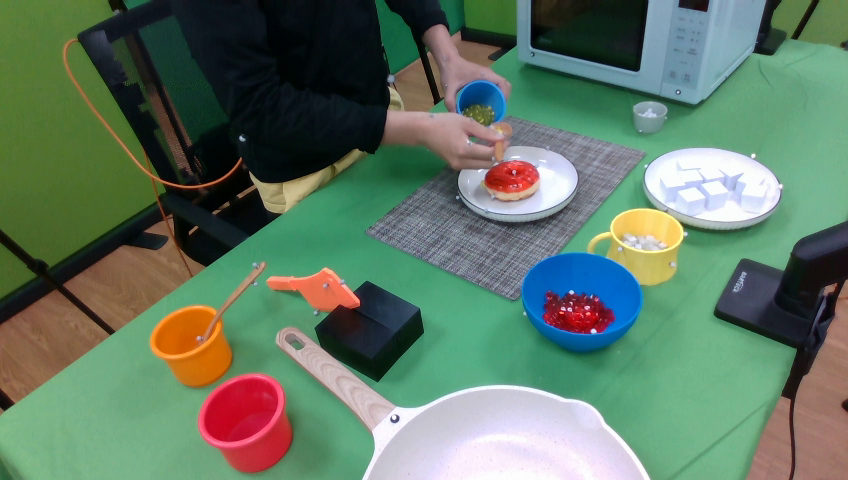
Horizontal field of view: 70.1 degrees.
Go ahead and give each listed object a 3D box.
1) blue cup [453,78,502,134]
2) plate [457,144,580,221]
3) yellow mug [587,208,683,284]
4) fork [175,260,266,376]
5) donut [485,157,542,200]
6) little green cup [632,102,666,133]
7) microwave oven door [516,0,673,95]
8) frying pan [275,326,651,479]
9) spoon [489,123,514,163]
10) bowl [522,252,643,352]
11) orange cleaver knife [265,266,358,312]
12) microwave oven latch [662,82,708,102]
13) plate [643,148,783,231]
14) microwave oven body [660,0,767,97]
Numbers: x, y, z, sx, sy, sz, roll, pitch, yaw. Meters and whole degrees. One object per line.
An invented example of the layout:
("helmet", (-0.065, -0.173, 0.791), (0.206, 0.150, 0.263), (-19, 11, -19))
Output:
("blue cup", (0.100, -0.229, 1.075), (0.092, 0.100, 0.092), (-1, 86, 10))
("plate", (0.162, -0.097, 1.042), (0.209, 0.038, 0.208), (-4, 40, 4))
("yellow mug", (0.305, 0.009, 0.884), (0.131, 0.064, 0.099), (-4, 40, 5))
("fork", (-0.268, 0.103, 0.792), (0.207, 0.019, 0.028), (-51, 41, 16))
("donut", (0.153, -0.108, 1.039), (0.099, 0.048, 0.098), (-6, 37, 5))
("little green cup", (0.434, -0.237, 1.171), (0.061, 0.039, 0.061), (-5, 40, 5))
("microwave oven door", (0.344, -0.458, 1.256), (0.353, 0.245, 0.039), (26, 52, 33))
("frying pan", (0.003, 0.229, 0.641), (0.484, 0.103, 0.308), (34, 54, 28))
("spoon", (0.117, -0.151, 0.927), (0.041, 0.022, 0.193), (0, 22, 9))
("bowl", (0.204, 0.093, 0.791), (0.151, 0.077, 0.150), (-4, 40, 4))
("orange cleaver knife", (-0.164, 0.073, 0.864), (0.210, 0.077, 0.012), (-6, 30, 50))
("microwave oven latch", (0.518, -0.299, 1.203), (0.078, 0.029, 0.030), (29, 53, 36))
("plate", (0.464, -0.079, 0.985), (0.207, 0.039, 0.206), (-4, 41, 4))
("microwave oven body", (0.473, -0.517, 1.313), (0.438, 0.261, 0.327), (26, 51, 34))
